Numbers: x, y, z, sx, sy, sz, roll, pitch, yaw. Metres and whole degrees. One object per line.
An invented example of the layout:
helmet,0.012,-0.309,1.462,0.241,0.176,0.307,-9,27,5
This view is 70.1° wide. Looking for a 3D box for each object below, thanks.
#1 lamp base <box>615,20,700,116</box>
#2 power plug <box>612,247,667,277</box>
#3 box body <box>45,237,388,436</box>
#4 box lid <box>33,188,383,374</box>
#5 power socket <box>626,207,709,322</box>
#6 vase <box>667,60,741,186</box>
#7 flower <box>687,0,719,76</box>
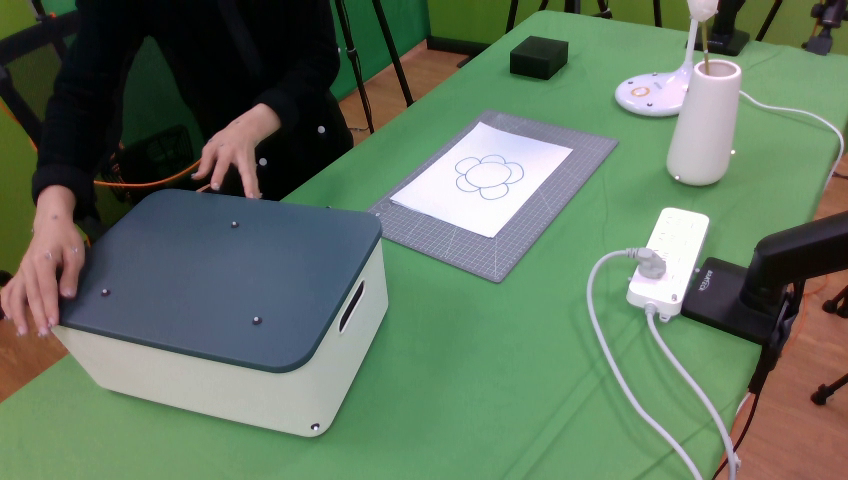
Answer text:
lamp base,0.484,-0.364,1.211,0.180,0.181,0.159,-15,41,-14
power plug,0.306,0.031,0.852,0.072,0.053,0.035,21,48,38
box body,-0.251,0.087,0.799,0.362,0.161,0.254,7,42,16
box lid,-0.257,0.032,0.751,0.370,0.015,0.263,8,42,16
power socket,0.360,0.026,0.886,0.072,0.033,0.227,17,46,27
vase,0.463,-0.189,0.994,0.098,0.201,0.097,-4,40,4
flower,0.436,-0.242,0.934,0.038,0.364,0.043,-24,49,9
